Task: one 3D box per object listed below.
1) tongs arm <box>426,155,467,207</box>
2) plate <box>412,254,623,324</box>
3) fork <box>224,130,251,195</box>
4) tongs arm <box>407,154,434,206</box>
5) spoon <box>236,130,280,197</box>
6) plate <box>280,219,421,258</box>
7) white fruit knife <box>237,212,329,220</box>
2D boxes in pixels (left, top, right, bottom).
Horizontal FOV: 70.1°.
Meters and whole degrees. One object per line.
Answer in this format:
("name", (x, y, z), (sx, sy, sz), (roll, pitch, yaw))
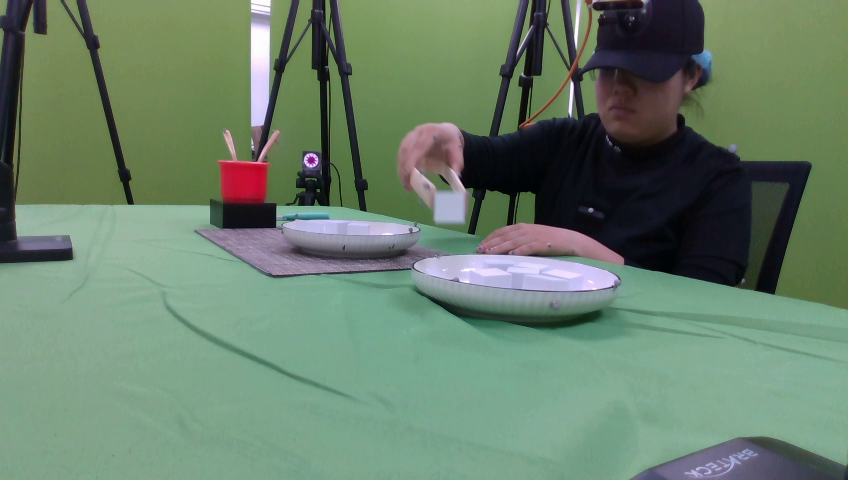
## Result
("tongs arm", (0.028, -0.087, 0.818), (0.028, 0.028, 0.387), (-2, 12, -3))
("plate", (0.090, 0.047, 0.609), (0.209, 0.038, 0.209), (2, 7, 0))
("fork", (-0.372, -0.156, 1.193), (0.028, 0.018, 0.206), (-17, 54, -13))
("tongs arm", (0.004, -0.088, 0.816), (0.051, 0.026, 0.384), (1, 12, -8))
("spoon", (-0.321, -0.154, 1.192), (0.041, 0.193, 0.022), (0, -37, 19))
("plate", (-0.108, -0.002, 0.902), (0.208, 0.039, 0.207), (3, 7, 0))
("white fruit knife", (-0.304, -0.050, 1.328), (0.208, 0.016, 0.027), (-3, -19, -29))
